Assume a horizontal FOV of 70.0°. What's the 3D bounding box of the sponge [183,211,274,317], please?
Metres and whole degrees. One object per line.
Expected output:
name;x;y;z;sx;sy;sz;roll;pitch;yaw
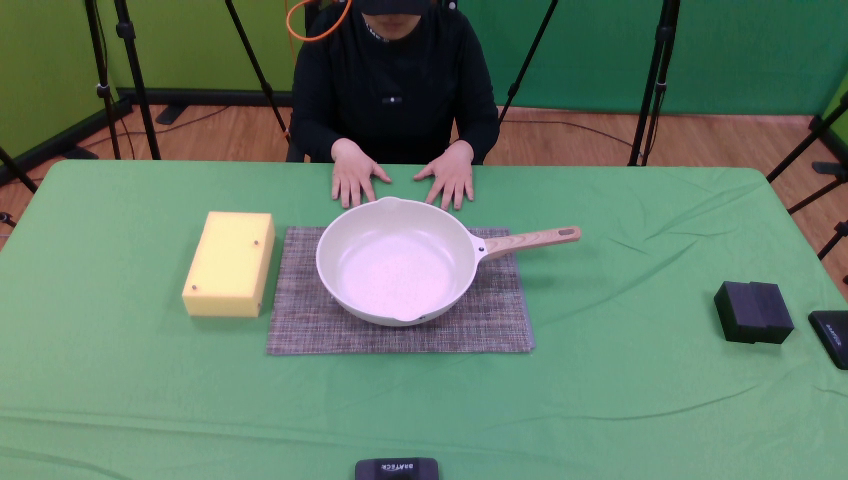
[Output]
sponge;-0.351;0.041;1.107;0.118;0.061;0.205;1;46;-3

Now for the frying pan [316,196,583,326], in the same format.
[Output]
frying pan;0.054;0.027;1.114;0.488;0.103;0.304;-9;48;-1
